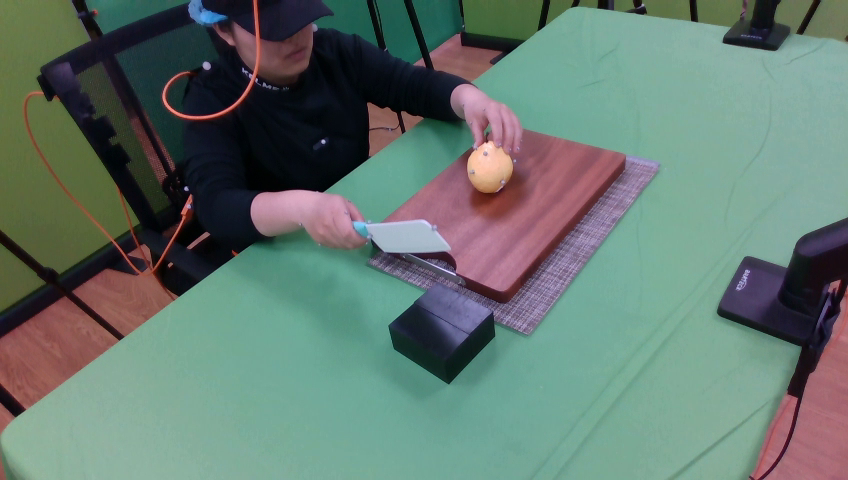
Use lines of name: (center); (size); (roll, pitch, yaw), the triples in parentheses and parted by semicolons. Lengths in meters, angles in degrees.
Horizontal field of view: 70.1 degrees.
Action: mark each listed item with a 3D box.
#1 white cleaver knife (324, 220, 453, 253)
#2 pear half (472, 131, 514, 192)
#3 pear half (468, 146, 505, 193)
white cleaver knife: (-0.062, -0.001, 0.860); (0.021, 0.066, 0.284); (-50, 27, -24)
pear half: (0.117, -0.141, 1.019); (0.076, 0.110, 0.056); (17, 46, 24)
pear half: (0.099, -0.113, 1.004); (0.070, 0.088, 0.031); (20, 48, 20)
